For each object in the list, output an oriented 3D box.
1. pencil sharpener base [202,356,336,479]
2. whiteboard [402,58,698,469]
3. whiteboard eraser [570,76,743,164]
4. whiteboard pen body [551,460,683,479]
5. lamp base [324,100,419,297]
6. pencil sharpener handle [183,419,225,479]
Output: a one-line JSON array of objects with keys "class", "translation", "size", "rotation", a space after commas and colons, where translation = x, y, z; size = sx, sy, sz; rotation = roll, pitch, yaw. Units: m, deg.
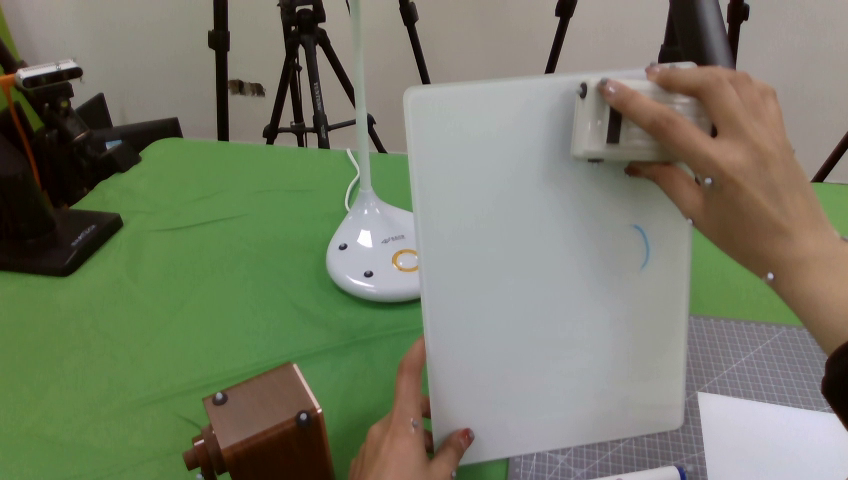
[{"class": "pencil sharpener base", "translation": [-0.116, 0.153, 0.453], "size": [0.077, 0.108, 0.060], "rotation": [-20, 40, -24]}, {"class": "whiteboard", "translation": [0.095, 0.010, 0.528], "size": [0.217, 0.307, 0.143], "rotation": [-7, 17, -6]}, {"class": "whiteboard eraser", "translation": [0.159, -0.082, 0.421], "size": [0.113, 0.056, 0.041], "rotation": [1, 15, -8]}, {"class": "whiteboard pen body", "translation": [0.131, 0.187, 0.464], "size": [0.141, 0.017, 0.017], "rotation": [-6, 36, -7]}, {"class": "lamp base", "translation": [-0.047, -0.055, 0.680], "size": [0.161, 0.182, 0.177], "rotation": [-24, 39, -29]}, {"class": "pencil sharpener handle", "translation": [-0.158, 0.161, 0.422], "size": [0.031, 0.068, 0.035], "rotation": [-20, 26, -24]}]
